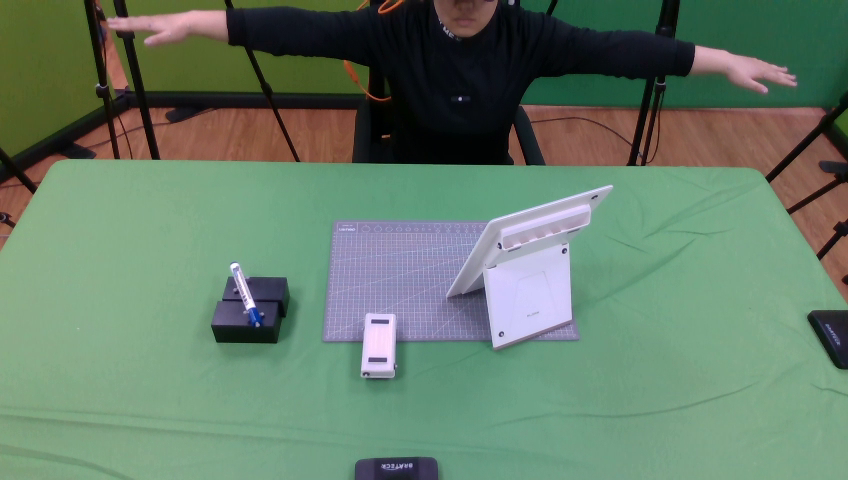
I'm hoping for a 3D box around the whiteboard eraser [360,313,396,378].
[{"bbox_3d":[-0.075,0.176,1.006,0.055,0.042,0.112,3,50,-4],"label":"whiteboard eraser"}]

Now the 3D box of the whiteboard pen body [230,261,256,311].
[{"bbox_3d":[-0.304,0.086,1.025,0.017,0.017,0.140,-18,50,-20],"label":"whiteboard pen body"}]

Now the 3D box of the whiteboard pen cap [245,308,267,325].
[{"bbox_3d":[-0.273,0.126,0.987,0.033,0.018,0.018,30,49,0],"label":"whiteboard pen cap"}]

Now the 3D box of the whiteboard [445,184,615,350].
[{"bbox_3d":[0.186,0.065,0.989,0.217,0.306,0.143,-15,68,-18],"label":"whiteboard"}]
